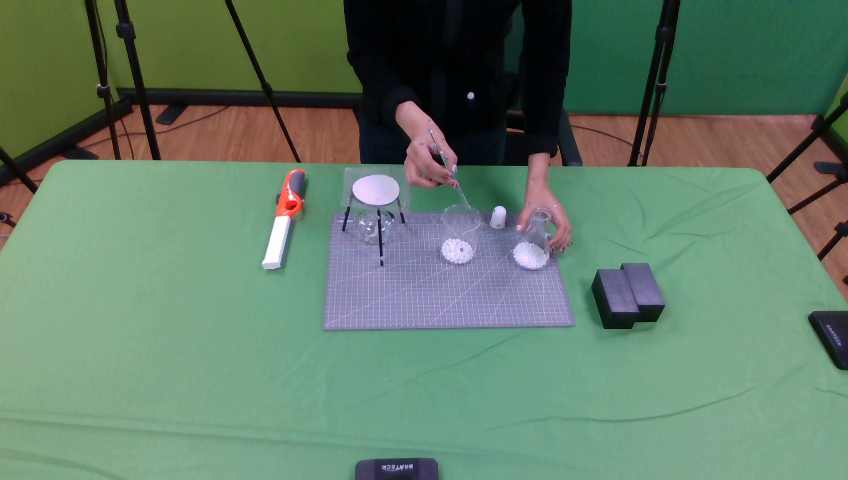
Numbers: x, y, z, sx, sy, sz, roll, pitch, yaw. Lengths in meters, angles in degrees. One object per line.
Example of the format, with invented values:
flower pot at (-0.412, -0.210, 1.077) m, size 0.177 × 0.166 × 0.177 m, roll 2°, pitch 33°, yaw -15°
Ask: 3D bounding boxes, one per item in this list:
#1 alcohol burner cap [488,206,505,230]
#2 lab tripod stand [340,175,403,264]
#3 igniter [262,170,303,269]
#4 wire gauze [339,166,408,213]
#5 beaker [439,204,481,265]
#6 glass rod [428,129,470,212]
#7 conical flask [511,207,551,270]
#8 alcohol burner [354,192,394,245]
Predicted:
alcohol burner cap at (0.151, -0.047, 1.241) m, size 0.034 × 0.048 × 0.033 m, roll 2°, pitch 44°, yaw -2°
lab tripod stand at (-0.093, -0.050, 1.160) m, size 0.148 × 0.132 × 0.147 m, roll 2°, pitch 44°, yaw -2°
igniter at (-0.283, -0.050, 1.222) m, size 0.057 × 0.025 × 0.275 m, roll -4°, pitch 45°, yaw 6°
wire gauze at (-0.091, -0.096, 1.110) m, size 0.125 × 0.011 × 0.120 m, roll 2°, pitch 45°, yaw -3°
beaker at (0.066, -0.006, 1.154) m, size 0.074 × 0.101 × 0.083 m, roll 8°, pitch 47°, yaw 4°
glass rod at (0.044, -0.112, 1.023) m, size 0.008 × 0.201 × 0.008 m, roll -14°, pitch 47°, yaw 16°
conical flask at (0.211, -0.006, 1.149) m, size 0.075 × 0.122 × 0.075 m, roll 2°, pitch 46°, yaw -2°
alcohol burner at (-0.096, -0.048, 1.171) m, size 0.078 × 0.119 × 0.077 m, roll 4°, pitch 45°, yaw -4°
